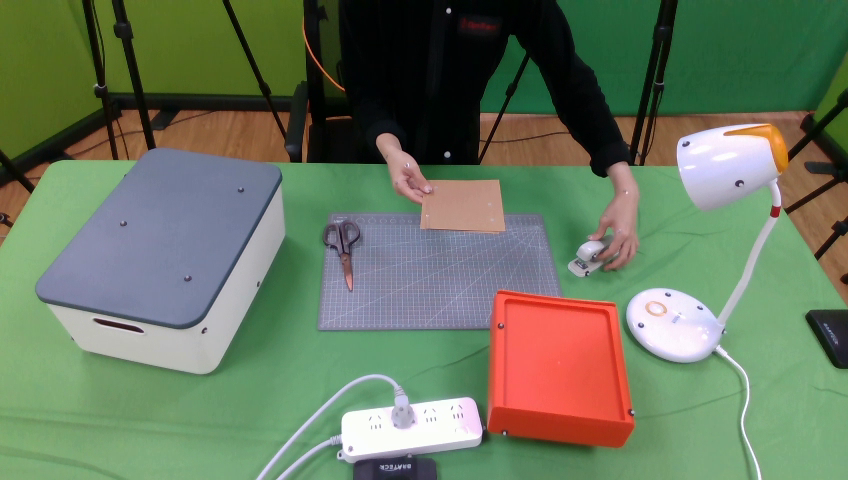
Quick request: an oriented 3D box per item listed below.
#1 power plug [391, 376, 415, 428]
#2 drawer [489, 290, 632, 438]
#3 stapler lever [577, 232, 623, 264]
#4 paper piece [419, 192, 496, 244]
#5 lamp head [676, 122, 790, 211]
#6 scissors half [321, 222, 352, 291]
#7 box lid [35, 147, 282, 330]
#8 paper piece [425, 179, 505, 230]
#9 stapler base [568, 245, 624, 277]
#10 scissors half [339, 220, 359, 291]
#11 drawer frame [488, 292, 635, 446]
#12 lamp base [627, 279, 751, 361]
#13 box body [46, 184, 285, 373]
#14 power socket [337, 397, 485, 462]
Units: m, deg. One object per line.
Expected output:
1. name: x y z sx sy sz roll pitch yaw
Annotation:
1. power plug: -0.030 0.249 0.917 0.035 0.053 0.072 3 46 0
2. drawer: 0.203 0.185 0.934 0.194 0.073 0.210 7 47 1
3. stapler lever: 0.344 0.010 1.178 0.118 0.040 0.026 -26 55 -28
4. paper piece: 0.064 -0.051 1.070 0.135 0.004 0.135 13 45 -1
5. lamp head: 0.423 -0.104 0.819 0.122 0.113 0.112 -13 33 40
6. scissors half: -0.163 0.031 1.160 0.040 0.013 0.174 -17 51 -14
7. box lid: -0.411 -0.023 0.987 0.263 0.015 0.369 10 47 5
8. paper piece: 0.070 -0.065 1.066 0.136 0.009 0.137 4 44 -3
9. stapler base: 0.341 0.029 1.196 0.130 0.024 0.041 -26 55 -28
10. scissors half: -0.144 0.026 1.162 0.040 0.013 0.174 -7 51 1
11. drawer frame: 0.204 0.191 0.931 0.202 0.083 0.212 7 45 2
12. lamp base: 0.460 0.100 1.027 0.178 0.181 0.160 27 51 17
13. box body: -0.414 0.029 1.040 0.254 0.161 0.362 10 46 5
14. power socket: -0.018 0.285 0.915 0.227 0.033 0.071 -4 46 -8
